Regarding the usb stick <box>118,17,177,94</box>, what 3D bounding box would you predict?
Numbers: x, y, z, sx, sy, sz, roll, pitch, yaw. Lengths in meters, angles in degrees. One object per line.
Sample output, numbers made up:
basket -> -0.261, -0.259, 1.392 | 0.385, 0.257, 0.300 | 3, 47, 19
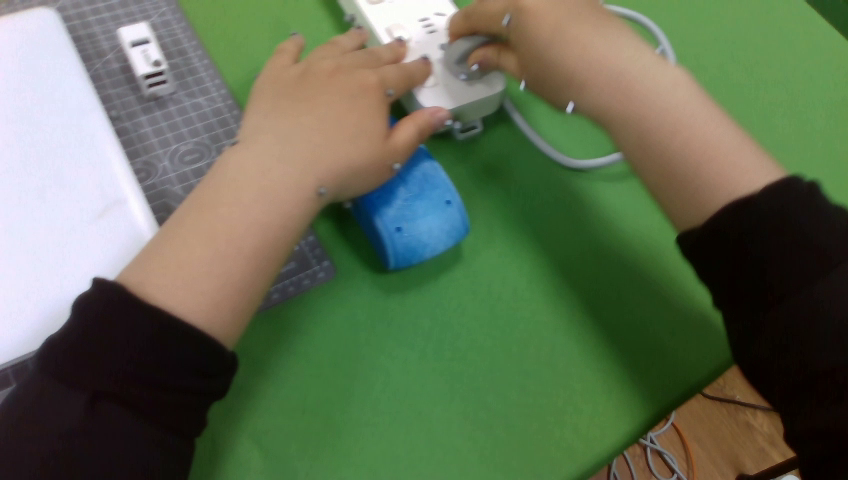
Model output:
usb stick -> -0.190, -0.130, 0.412 | 0.021, 0.027, 0.058 | -24, 67, -18

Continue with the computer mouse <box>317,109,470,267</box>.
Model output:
computer mouse -> -0.021, -0.040, 0.393 | 0.063, 0.041, 0.116 | -25, 66, -17

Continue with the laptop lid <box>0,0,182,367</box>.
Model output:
laptop lid -> -0.341, 0.000, 0.315 | 0.357, 0.013, 0.240 | -24, 72, -20

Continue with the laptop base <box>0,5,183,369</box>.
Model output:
laptop base -> -0.344, 0.004, 0.326 | 0.355, 0.023, 0.234 | -25, 74, -20

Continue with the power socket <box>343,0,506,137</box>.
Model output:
power socket -> -0.016, -0.177, 0.465 | 0.072, 0.033, 0.225 | -22, 70, -18

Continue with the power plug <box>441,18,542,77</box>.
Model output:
power plug -> 0.048, -0.130, 0.434 | 0.073, 0.053, 0.035 | 1, 58, -21
